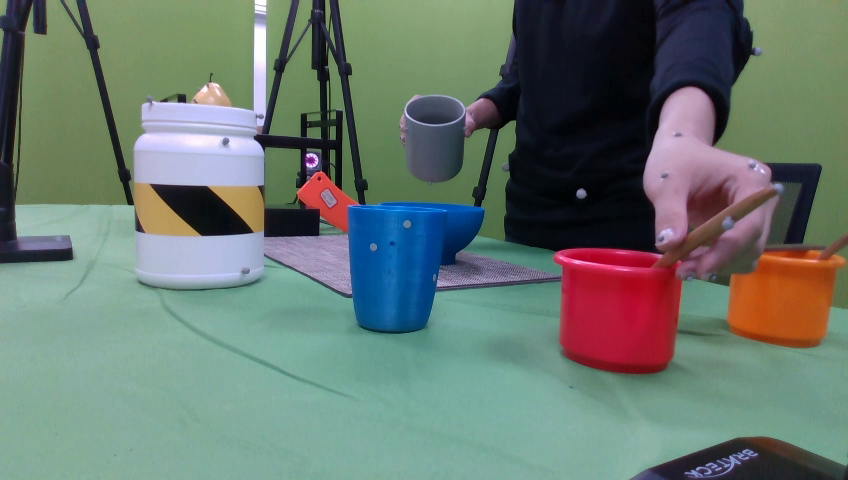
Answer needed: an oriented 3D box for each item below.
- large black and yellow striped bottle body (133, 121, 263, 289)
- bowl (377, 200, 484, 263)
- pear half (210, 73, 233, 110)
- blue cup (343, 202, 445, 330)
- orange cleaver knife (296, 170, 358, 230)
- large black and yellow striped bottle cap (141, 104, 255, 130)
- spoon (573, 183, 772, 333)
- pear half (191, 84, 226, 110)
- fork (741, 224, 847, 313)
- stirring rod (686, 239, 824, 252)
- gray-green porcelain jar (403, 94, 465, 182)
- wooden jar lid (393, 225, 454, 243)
[{"bbox_3d":[-0.243,-0.048,0.659,0.131,0.184,0.130,2,7,0],"label":"large black and yellow striped bottle body"},{"bbox_3d":[0.008,-0.012,0.842,0.151,0.077,0.151,2,7,0],"label":"bowl"},{"bbox_3d":[-0.402,-0.262,1.162,0.076,0.109,0.056,7,7,2],"label":"pear half"},{"bbox_3d":[-0.027,0.021,0.510,0.093,0.100,0.092,3,5,0],"label":"blue cup"},{"bbox_3d":[-0.149,-0.058,1.170,0.212,0.077,0.012,32,-14,-32],"label":"orange cleaver knife"},{"bbox_3d":[-0.241,-0.131,0.650,0.115,0.019,0.115,3,8,0],"label":"large black and yellow striped bottle cap"},{"bbox_3d":[0.160,0.020,0.413,0.042,0.021,0.193,0,-36,-22],"label":"spoon"},{"bbox_3d":[-0.406,-0.248,1.128,0.070,0.088,0.031,5,7,2],"label":"pear half"},{"bbox_3d":[0.323,0.013,0.485,0.028,0.018,0.207,9,-38,-5],"label":"fork"},{"bbox_3d":[0.290,0.004,0.525,0.177,0.006,0.014,-2,7,-27],"label":"stirring rod"},{"bbox_3d":[0.017,-0.175,1.063,0.106,0.126,0.105,0,42,0],"label":"gray-green porcelain jar"},{"bbox_3d":[-0.001,-0.011,1.058,0.108,0.020,0.108,8,5,0],"label":"wooden jar lid"}]
